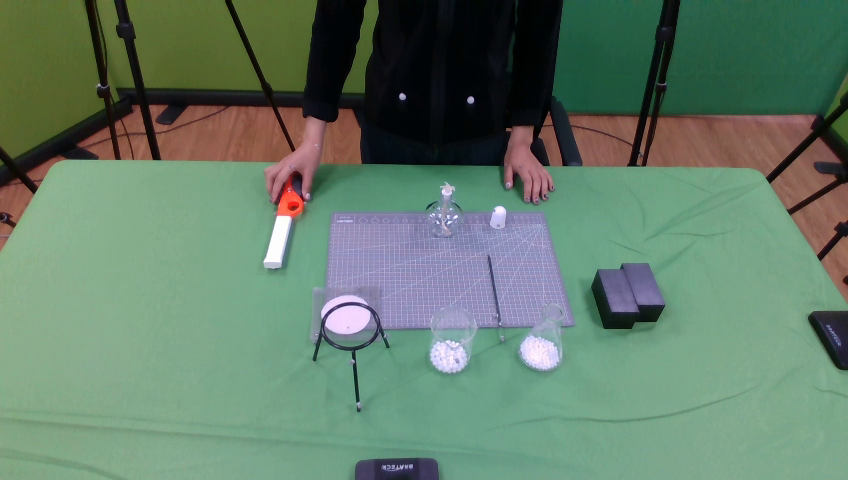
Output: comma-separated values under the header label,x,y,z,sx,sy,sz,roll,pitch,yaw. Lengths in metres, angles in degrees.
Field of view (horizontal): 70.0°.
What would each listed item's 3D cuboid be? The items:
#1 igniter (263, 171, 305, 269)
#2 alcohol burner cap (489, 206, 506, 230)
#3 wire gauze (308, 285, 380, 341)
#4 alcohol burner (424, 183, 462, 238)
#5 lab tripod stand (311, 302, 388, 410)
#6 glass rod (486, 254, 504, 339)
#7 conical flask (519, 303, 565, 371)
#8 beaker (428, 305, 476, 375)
label,x,y,z,sx,sy,sz,roll,pitch,yaw
igniter,-0.281,-0.050,1.223,0.057,0.025,0.275,2,45,-1
alcohol burner cap,0.152,-0.047,1.241,0.034,0.048,0.033,2,45,-2
wire gauze,-0.141,0.128,1.071,0.125,0.011,0.120,-1,46,-5
alcohol burner,0.039,-0.063,1.197,0.078,0.119,0.077,2,44,-2
lab tripod stand,-0.113,0.168,0.951,0.148,0.132,0.147,2,44,-2
glass rod,0.129,0.099,1.119,0.008,0.008,0.198,-1,47,-4
conical flask,0.201,0.155,0.997,0.075,0.122,0.075,2,46,-2
beaker,0.044,0.169,0.987,0.074,0.101,0.083,1,47,-3
